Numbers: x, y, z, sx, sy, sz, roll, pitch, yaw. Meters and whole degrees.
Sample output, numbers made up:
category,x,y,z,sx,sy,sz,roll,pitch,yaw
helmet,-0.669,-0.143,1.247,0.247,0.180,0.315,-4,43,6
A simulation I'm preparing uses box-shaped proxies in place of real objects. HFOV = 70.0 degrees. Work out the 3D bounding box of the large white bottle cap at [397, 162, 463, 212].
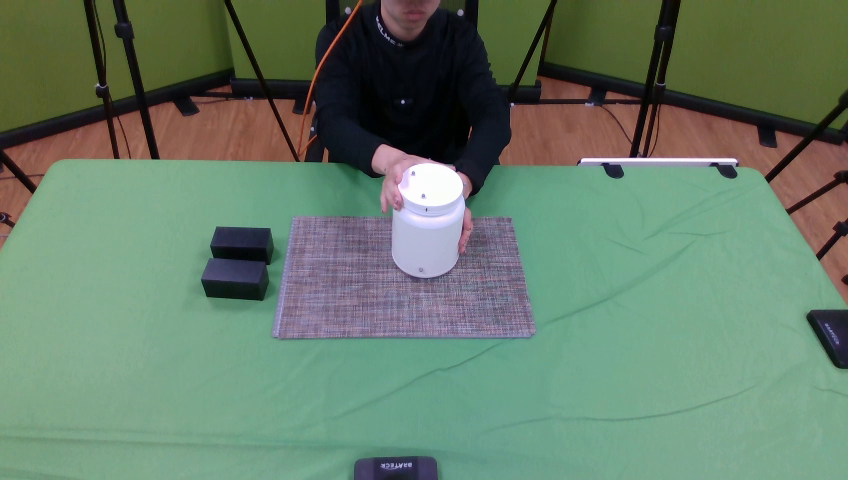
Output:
category,x,y,z,sx,sy,sz,roll,pitch,yaw
large white bottle cap,0.010,-0.094,1.052,0.115,0.018,0.114,2,46,-2

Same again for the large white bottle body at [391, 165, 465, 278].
category,x,y,z,sx,sy,sz,roll,pitch,yaw
large white bottle body,0.006,-0.035,1.112,0.131,0.185,0.130,3,47,-3
